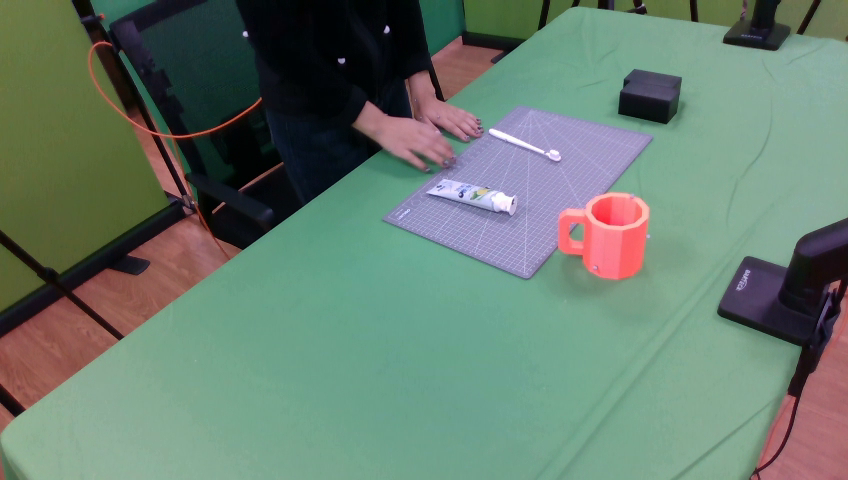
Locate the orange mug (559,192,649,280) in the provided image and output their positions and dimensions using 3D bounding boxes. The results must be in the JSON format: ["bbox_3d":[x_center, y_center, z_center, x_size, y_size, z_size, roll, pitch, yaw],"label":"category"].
[{"bbox_3d":[0.261,-0.008,0.884,0.126,0.101,0.083,9,43,14],"label":"orange mug"}]

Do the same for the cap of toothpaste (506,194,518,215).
[{"bbox_3d":[0.146,-0.060,1.007,0.011,0.037,0.037,14,46,22],"label":"cap of toothpaste"}]

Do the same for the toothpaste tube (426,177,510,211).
[{"bbox_3d":[0.083,-0.082,1.054,0.164,0.034,0.055,18,40,34],"label":"toothpaste tube"}]

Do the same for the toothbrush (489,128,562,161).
[{"bbox_3d":[0.191,-0.188,1.167,0.014,0.017,0.180,-44,49,-17],"label":"toothbrush"}]
